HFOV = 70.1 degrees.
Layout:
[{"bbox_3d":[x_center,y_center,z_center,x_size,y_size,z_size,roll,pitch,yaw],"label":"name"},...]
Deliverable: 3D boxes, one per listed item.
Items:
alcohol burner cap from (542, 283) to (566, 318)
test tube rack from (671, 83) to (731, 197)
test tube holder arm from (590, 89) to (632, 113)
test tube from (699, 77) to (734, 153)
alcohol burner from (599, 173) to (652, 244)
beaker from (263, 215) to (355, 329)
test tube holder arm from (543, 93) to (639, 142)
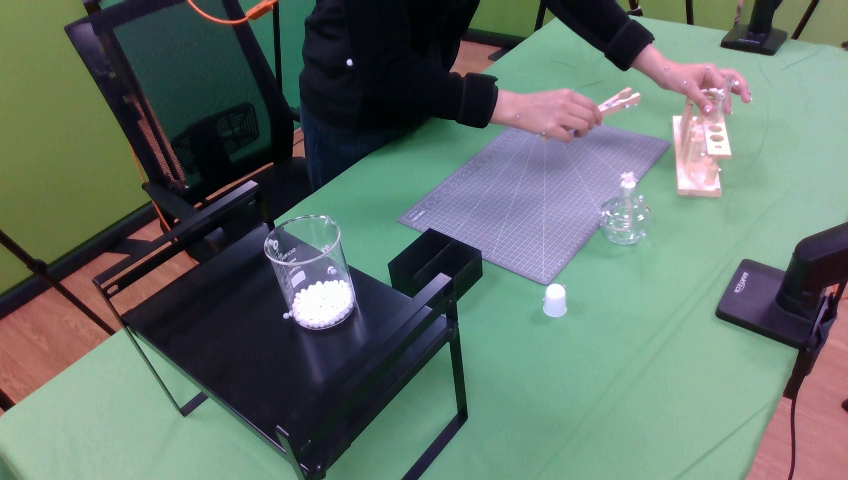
[{"bbox_3d":[0.182,0.081,0.839,0.034,0.048,0.033,-3,40,3],"label":"alcohol burner cap"},{"bbox_3d":[0.483,-0.184,1.067,0.066,0.085,0.242,6,42,14],"label":"test tube rack"},{"bbox_3d":[0.304,-0.221,0.985,0.088,0.015,0.010,-33,46,-20],"label":"test tube holder arm"},{"bbox_3d":[0.490,-0.207,1.016,0.017,0.151,0.017,-2,49,3],"label":"test tube"},{"bbox_3d":[0.308,-0.052,0.920,0.078,0.119,0.077,-5,42,5],"label":"alcohol burner"},{"bbox_3d":[-0.111,0.034,0.616,0.073,0.101,0.084,13,44,22],"label":"beaker"},{"bbox_3d":[0.269,-0.198,0.969,0.179,0.015,0.013,-25,43,-12],"label":"test tube holder arm"}]
